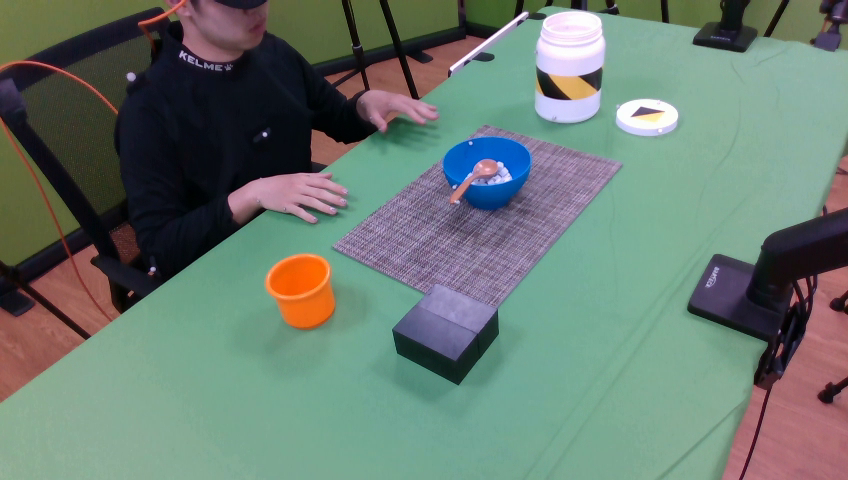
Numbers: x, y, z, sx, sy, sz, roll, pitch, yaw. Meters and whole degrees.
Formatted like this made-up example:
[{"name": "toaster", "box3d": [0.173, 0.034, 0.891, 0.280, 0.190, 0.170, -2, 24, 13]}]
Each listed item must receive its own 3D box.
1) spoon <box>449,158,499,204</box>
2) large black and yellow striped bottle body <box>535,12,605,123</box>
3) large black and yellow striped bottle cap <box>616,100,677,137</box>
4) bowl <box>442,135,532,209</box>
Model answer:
[{"name": "spoon", "box3d": [0.076, -0.096, 0.967, 0.041, 0.021, 0.194, 14, 27, 20]}, {"name": "large black and yellow striped bottle body", "box3d": [0.288, -0.341, 1.197, 0.131, 0.185, 0.130, -4, 41, 4]}, {"name": "large black and yellow striped bottle cap", "box3d": [0.438, -0.241, 1.190, 0.115, 0.019, 0.114, -4, 42, 4]}, {"name": "bowl", "box3d": [0.108, -0.106, 1.026, 0.151, 0.077, 0.150, -4, 41, 4]}]
